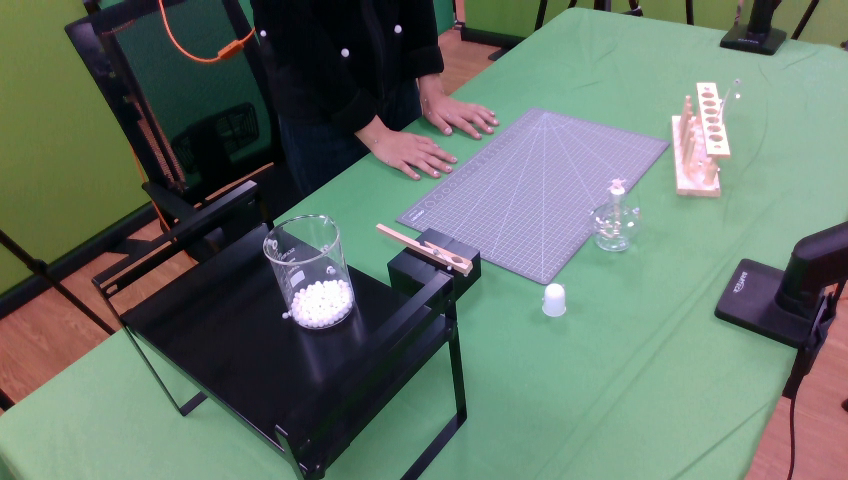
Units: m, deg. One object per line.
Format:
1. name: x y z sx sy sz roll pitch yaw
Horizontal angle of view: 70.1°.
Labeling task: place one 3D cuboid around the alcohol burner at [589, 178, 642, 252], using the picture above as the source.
1. alcohol burner: 0.290 -0.042 0.910 0.078 0.119 0.077 -6 40 5

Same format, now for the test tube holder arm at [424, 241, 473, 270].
1. test tube holder arm: 0.033 0.022 0.872 0.087 0.015 0.010 22 50 32

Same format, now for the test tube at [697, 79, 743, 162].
1. test tube: 0.486 -0.194 0.998 0.017 0.150 0.017 5 40 -4

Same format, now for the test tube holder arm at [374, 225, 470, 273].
1. test tube holder arm: -0.006 0.012 0.893 0.177 0.015 0.013 21 50 31

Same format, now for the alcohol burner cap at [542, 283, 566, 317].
1. alcohol burner cap: 0.181 0.081 0.839 0.034 0.048 0.033 -4 40 4

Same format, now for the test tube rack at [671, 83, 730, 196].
1. test tube rack: 0.482 -0.184 1.067 0.066 0.085 0.242 5 42 15

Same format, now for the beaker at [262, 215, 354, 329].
1. beaker: -0.112 0.034 0.616 0.073 0.101 0.084 13 44 23
